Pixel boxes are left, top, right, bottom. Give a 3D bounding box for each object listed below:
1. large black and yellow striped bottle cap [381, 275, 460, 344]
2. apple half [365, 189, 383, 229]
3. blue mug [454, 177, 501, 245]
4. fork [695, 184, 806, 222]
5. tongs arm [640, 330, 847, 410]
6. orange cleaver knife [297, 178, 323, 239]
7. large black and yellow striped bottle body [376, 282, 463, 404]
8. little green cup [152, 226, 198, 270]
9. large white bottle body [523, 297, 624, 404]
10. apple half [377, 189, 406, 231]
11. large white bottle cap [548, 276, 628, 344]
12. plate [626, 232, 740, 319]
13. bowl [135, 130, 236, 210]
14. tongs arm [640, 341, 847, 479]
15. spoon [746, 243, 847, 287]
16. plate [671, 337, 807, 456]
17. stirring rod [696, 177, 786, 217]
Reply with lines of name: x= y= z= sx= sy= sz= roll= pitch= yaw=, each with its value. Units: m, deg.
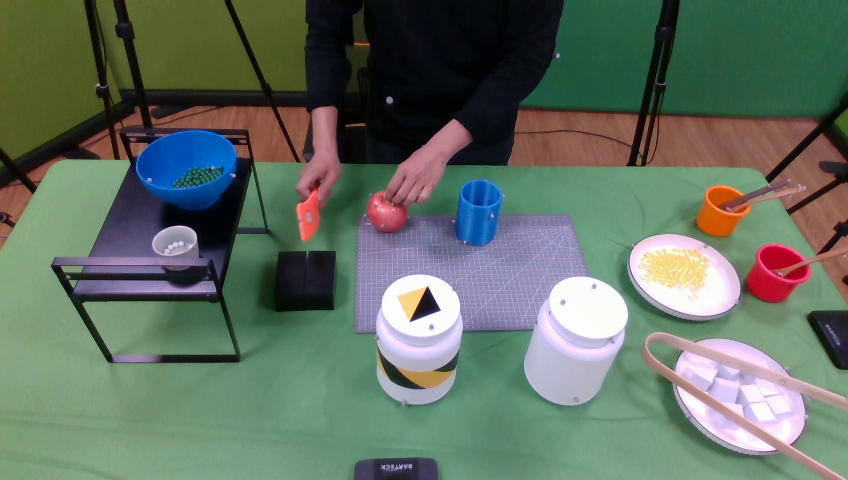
large black and yellow striped bottle cap: x=-0.005 y=0.098 z=0.875 sx=0.115 sy=0.019 sz=0.114 roll=2 pitch=45 yaw=-2
apple half: x=-0.102 y=-0.062 z=1.206 sx=0.033 sy=0.081 sz=0.081 roll=9 pitch=46 yaw=-3
blue mug: x=0.106 y=-0.067 z=1.208 sx=0.082 sy=0.106 sz=0.116 roll=5 pitch=46 yaw=1
fork: x=0.658 y=-0.074 z=1.229 sx=0.207 sy=0.019 sz=0.028 roll=-24 pitch=33 yaw=36
tongs arm: x=0.543 y=0.226 z=0.969 sx=0.384 sy=0.026 sz=0.050 roll=22 pitch=52 yaw=13
orange cleaver knife: x=-0.212 y=-0.064 z=1.157 sx=0.012 sy=0.077 sz=0.210 roll=-8 pitch=22 yaw=4
large black and yellow striped bottle body: x=-0.010 y=0.155 z=0.937 sx=0.131 sy=0.185 sz=0.130 roll=2 pitch=47 yaw=-2
little green cup: x=-0.364 y=0.013 z=0.894 sx=0.061 sy=0.039 sz=0.061 roll=3 pitch=46 yaw=-3
large white bottle body: x=0.235 y=0.159 z=0.952 sx=0.131 sy=0.185 sz=0.130 roll=2 pitch=47 yaw=-2
apple half: x=-0.064 y=-0.057 z=1.207 sx=0.053 sy=0.075 sz=0.080 roll=8 pitch=42 yaw=-2
large white bottle cap: x=0.240 y=0.100 z=0.890 sx=0.115 sy=0.018 sz=0.114 roll=3 pitch=47 yaw=-3
plate: x=0.488 y=0.071 z=1.157 sx=0.209 sy=0.038 sz=0.208 roll=3 pitch=46 yaw=-3
bowl: x=-0.375 y=-0.102 z=0.978 sx=0.151 sy=0.077 sz=0.150 roll=2 pitch=46 yaw=-2
tongs arm: x=0.500 y=0.278 z=0.920 sx=0.386 sy=0.028 sz=0.028 roll=34 pitch=59 yaw=22
spoon: x=0.702 y=0.043 z=1.126 sx=0.194 sy=0.022 sz=0.041 roll=-29 pitch=38 yaw=30
plate: x=0.504 y=0.254 z=0.984 sx=0.208 sy=0.039 sz=0.206 roll=2 pitch=46 yaw=-2
stirring rod: x=0.648 y=-0.087 z=1.244 sx=0.176 sy=0.006 sz=0.014 roll=-26 pitch=51 yaw=29
